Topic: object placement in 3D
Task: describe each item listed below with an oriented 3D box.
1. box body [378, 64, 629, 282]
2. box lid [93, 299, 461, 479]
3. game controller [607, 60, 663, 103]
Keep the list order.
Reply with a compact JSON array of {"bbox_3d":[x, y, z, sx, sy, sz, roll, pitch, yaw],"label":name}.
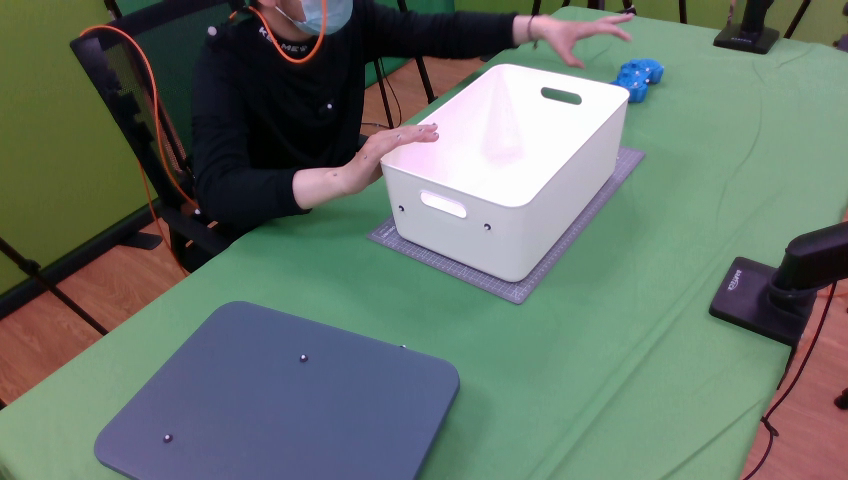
[{"bbox_3d":[0.137,-0.121,0.978,0.252,0.161,0.365,22,48,30],"label":"box body"},{"bbox_3d":[-0.164,0.200,0.701,0.369,0.015,0.263,13,44,21],"label":"box lid"},{"bbox_3d":[0.442,-0.345,1.288,0.096,0.052,0.155,25,50,27],"label":"game controller"}]
